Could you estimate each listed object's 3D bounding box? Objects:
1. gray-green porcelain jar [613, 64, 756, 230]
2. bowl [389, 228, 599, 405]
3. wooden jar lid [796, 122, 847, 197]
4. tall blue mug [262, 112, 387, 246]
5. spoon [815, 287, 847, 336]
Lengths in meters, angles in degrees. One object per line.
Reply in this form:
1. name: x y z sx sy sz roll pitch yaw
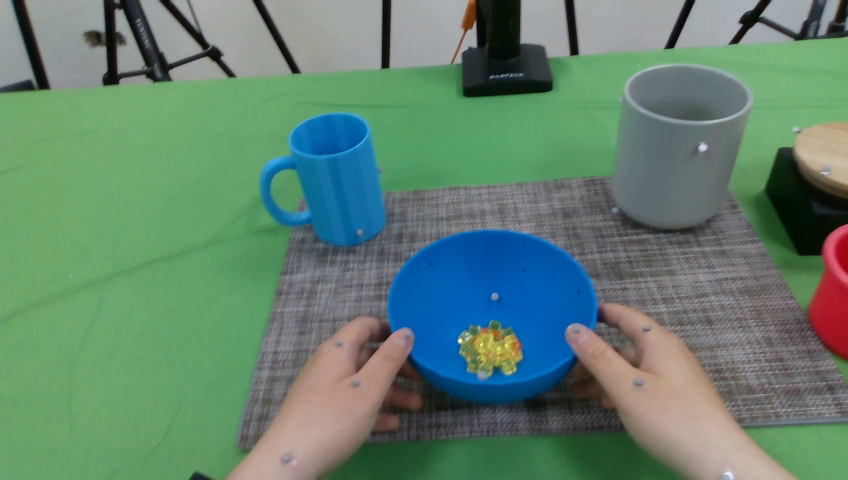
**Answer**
1. gray-green porcelain jar: 0.234 -0.081 0.563 0.106 0.128 0.105 -4 43 4
2. bowl: 0.052 0.069 0.458 0.151 0.077 0.150 -3 42 3
3. wooden jar lid: 0.391 -0.069 0.541 0.108 0.021 0.107 -4 42 4
4. tall blue mug: -0.092 -0.051 0.584 0.107 0.109 0.077 -36 50 -28
5. spoon: 0.378 0.008 0.439 0.022 0.194 0.041 31 27 -27
